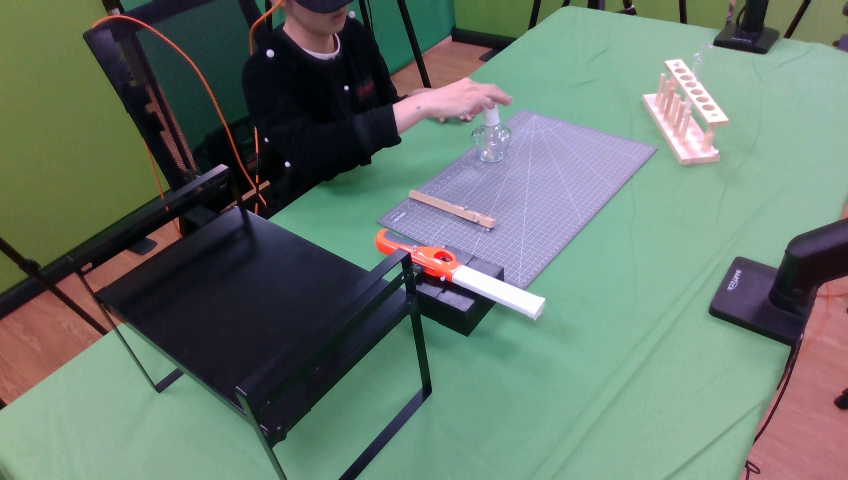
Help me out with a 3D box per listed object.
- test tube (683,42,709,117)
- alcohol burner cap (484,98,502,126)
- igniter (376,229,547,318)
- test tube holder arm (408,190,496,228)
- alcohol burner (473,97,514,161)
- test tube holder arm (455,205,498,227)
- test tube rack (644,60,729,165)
[{"bbox_3d":[0.499,-0.292,1.115,0.017,0.151,0.017,-3,44,3],"label":"test tube"},{"bbox_3d":[0.124,-0.236,1.101,0.034,0.048,0.033,-6,39,5],"label":"alcohol burner cap"},{"bbox_3d":[0.040,0.041,0.845,0.274,0.025,0.057,22,46,27],"label":"igniter"},{"bbox_3d":[0.044,-0.055,1.029,0.177,0.015,0.013,22,11,30],"label":"test tube holder arm"},{"bbox_3d":[0.128,-0.208,1.123,0.078,0.119,0.077,-5,39,5],"label":"alcohol burner"},{"bbox_3d":[0.083,-0.041,1.011,0.087,0.015,0.010,22,12,31],"label":"test tube holder arm"},{"bbox_3d":[0.486,-0.246,1.139,0.067,0.085,0.241,-5,41,4],"label":"test tube rack"}]
